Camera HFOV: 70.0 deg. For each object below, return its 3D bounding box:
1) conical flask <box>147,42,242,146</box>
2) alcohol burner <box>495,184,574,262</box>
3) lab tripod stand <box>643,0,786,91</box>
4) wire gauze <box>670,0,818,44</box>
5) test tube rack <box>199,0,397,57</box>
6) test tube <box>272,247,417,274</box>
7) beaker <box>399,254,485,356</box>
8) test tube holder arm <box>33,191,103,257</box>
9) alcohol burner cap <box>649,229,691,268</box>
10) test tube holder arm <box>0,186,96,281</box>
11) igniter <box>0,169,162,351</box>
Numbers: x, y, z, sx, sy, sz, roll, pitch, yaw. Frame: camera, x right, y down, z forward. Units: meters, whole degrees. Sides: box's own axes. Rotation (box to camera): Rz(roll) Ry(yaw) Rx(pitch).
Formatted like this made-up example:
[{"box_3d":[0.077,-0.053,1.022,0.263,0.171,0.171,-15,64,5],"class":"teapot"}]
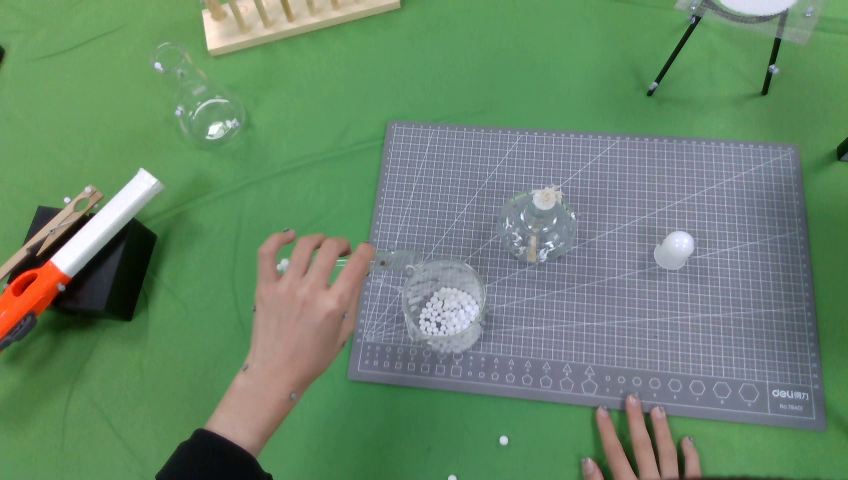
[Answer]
[{"box_3d":[-0.256,-0.163,0.664,0.075,0.123,0.075,-2,69,4],"class":"conical flask"},{"box_3d":[0.108,-0.022,0.585,0.078,0.120,0.077,-1,68,2],"class":"alcohol burner"},{"box_3d":[0.312,-0.224,0.637,0.148,0.132,0.147,-1,69,3],"class":"lab tripod stand"},{"box_3d":[0.314,-0.249,0.573,0.121,0.011,0.124,26,74,11],"class":"wire gauze"},{"box_3d":[-0.162,-0.303,0.728,0.242,0.086,0.066,-15,69,-1],"class":"test tube rack"},{"box_3d":[-0.072,0.018,0.516,0.149,0.017,0.017,-4,66,30],"class":"test tube"},{"box_3d":[0.017,0.068,0.567,0.073,0.101,0.084,34,76,16],"class":"beaker"},{"box_3d":[-0.368,-0.017,0.621,0.087,0.015,0.010,-46,103,-12],"class":"test tube holder arm"},{"box_3d":[0.247,0.006,0.603,0.034,0.048,0.033,-1,69,4],"class":"alcohol burner cap"},{"box_3d":[-0.402,0.011,0.611,0.013,0.015,0.178,46,78,-13],"class":"test tube holder arm"},{"box_3d":[-0.372,0.036,0.600,0.057,0.025,0.276,33,75,25],"class":"igniter"}]
